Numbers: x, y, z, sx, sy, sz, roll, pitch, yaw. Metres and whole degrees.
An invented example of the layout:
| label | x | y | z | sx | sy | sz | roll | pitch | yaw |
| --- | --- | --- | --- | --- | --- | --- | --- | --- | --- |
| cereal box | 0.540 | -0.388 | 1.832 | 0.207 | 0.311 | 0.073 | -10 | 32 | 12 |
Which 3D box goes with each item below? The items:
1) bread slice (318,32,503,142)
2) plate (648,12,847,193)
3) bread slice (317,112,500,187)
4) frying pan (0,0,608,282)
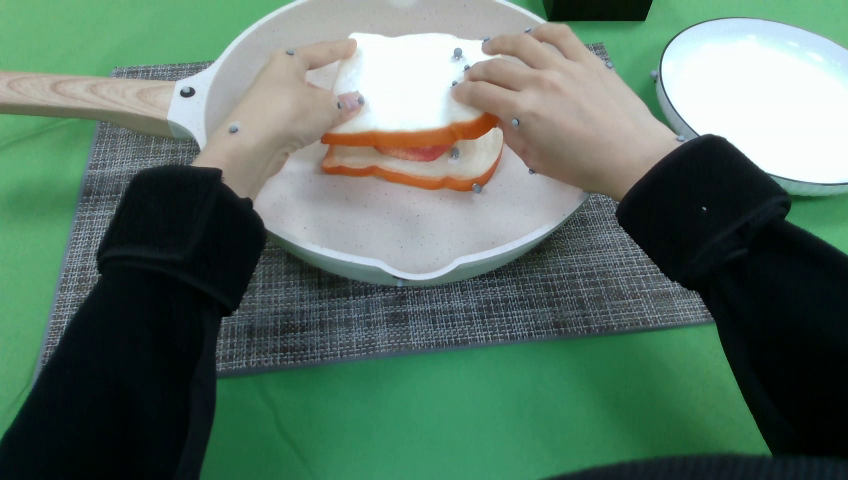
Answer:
| label | x | y | z | sx | sy | sz | roll | pitch | yaw |
| --- | --- | --- | --- | --- | --- | --- | --- | --- | --- |
| bread slice | -0.007 | -0.117 | 0.449 | 0.131 | 0.019 | 0.104 | 0 | 56 | 11 |
| plate | 0.294 | -0.117 | 0.522 | 0.208 | 0.039 | 0.205 | 2 | 55 | -2 |
| bread slice | -0.007 | -0.088 | 0.486 | 0.134 | 0.018 | 0.106 | 7 | 56 | 3 |
| frying pan | -0.118 | -0.094 | 0.436 | 0.489 | 0.103 | 0.303 | 4 | 54 | -10 |
